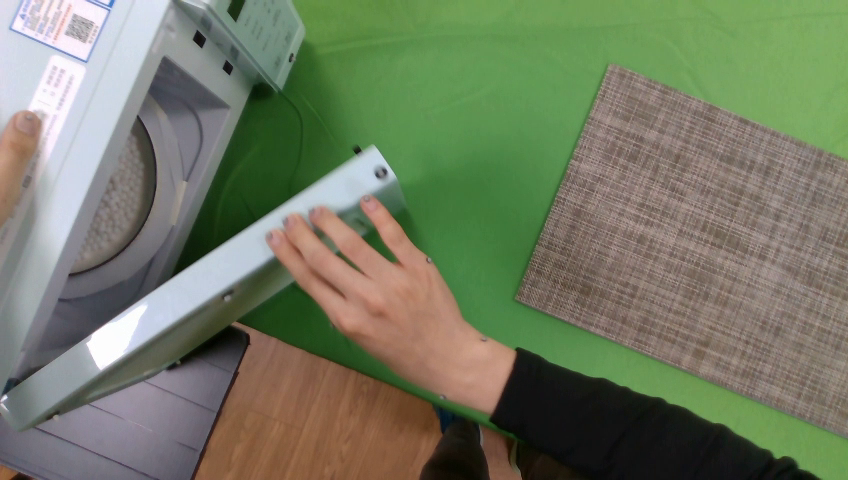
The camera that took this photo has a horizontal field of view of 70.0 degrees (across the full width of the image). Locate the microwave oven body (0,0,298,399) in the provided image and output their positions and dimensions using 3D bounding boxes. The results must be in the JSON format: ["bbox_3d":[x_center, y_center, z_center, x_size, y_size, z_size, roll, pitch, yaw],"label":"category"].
[{"bbox_3d":[-0.371,-0.118,0.584,0.326,0.260,0.441,23,89,-1],"label":"microwave oven body"}]

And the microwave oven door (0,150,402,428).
[{"bbox_3d":[-0.181,0.037,0.580,0.356,0.244,0.039,-34,89,-1],"label":"microwave oven door"}]

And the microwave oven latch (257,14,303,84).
[{"bbox_3d":[-0.165,-0.219,0.684,0.030,0.029,0.079,26,89,0],"label":"microwave oven latch"}]

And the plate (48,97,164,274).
[{"bbox_3d":[-0.374,-0.070,0.638,0.209,0.038,0.209,0,90,0],"label":"plate"}]
